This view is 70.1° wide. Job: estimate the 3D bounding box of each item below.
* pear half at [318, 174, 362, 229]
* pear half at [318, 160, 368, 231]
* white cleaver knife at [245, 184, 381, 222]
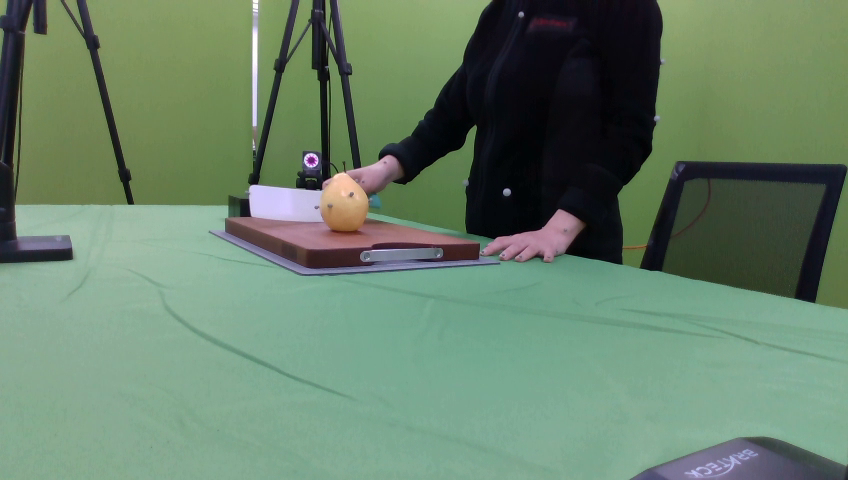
[{"bbox_3d":[-0.136,-0.062,0.959,0.071,0.088,0.031,-7,11,-29],"label":"pear half"},{"bbox_3d":[-0.120,-0.067,0.927,0.077,0.110,0.055,-7,11,-29],"label":"pear half"},{"bbox_3d":[-0.185,-0.061,1.061,0.021,0.065,0.288,-19,-11,42],"label":"white cleaver knife"}]
